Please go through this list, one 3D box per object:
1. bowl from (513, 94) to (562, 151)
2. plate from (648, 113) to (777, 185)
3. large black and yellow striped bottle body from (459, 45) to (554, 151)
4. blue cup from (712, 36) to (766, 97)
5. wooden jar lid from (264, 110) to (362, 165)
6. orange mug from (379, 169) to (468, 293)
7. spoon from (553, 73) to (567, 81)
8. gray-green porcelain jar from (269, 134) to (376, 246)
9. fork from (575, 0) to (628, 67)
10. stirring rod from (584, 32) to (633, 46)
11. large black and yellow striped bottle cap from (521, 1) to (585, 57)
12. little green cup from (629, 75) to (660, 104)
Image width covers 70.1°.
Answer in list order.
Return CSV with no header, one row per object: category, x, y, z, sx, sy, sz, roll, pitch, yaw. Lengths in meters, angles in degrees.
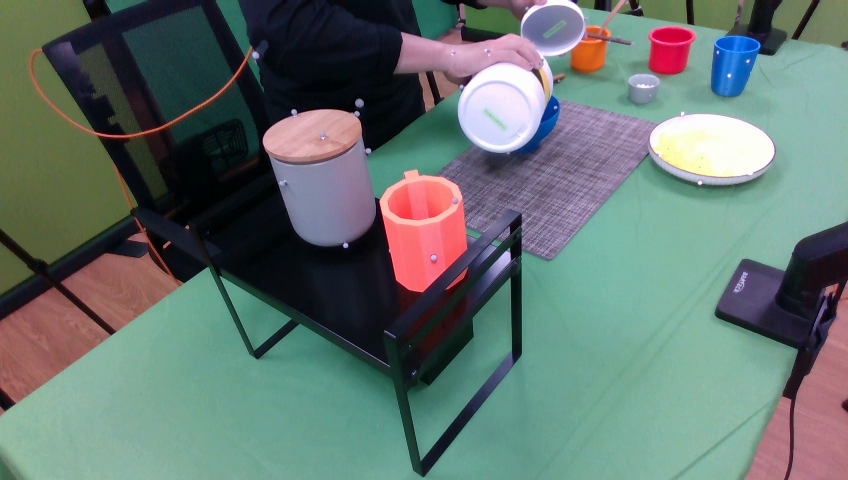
bowl,0.187,-0.223,1.161,0.151,0.077,0.150,-4,40,4
plate,0.506,-0.158,1.073,0.209,0.038,0.208,-5,40,4
large black and yellow striped bottle body,0.141,-0.240,0.992,0.130,0.131,0.184,7,35,17
blue cup,0.627,-0.350,1.227,0.092,0.100,0.092,-4,39,4
wooden jar lid,-0.122,-0.112,0.673,0.108,0.021,0.108,-4,37,4
orange mug,-0.002,-0.019,0.665,0.083,0.101,0.125,-12,45,-4
spoon,0.250,-0.336,1.332,0.194,0.022,0.041,-32,32,-25
gray-green porcelain jar,-0.115,-0.064,0.715,0.106,0.127,0.105,-4,40,4
fork,0.413,-0.481,1.377,0.207,0.019,0.028,-56,43,12
stirring rod,0.382,-0.453,1.345,0.174,0.006,0.014,27,53,34
large black and yellow striped bottle cap,0.236,-0.386,1.109,0.115,0.115,0.018,-1,60,9
little green cup,0.457,-0.314,1.260,0.061,0.039,0.061,-4,40,4
